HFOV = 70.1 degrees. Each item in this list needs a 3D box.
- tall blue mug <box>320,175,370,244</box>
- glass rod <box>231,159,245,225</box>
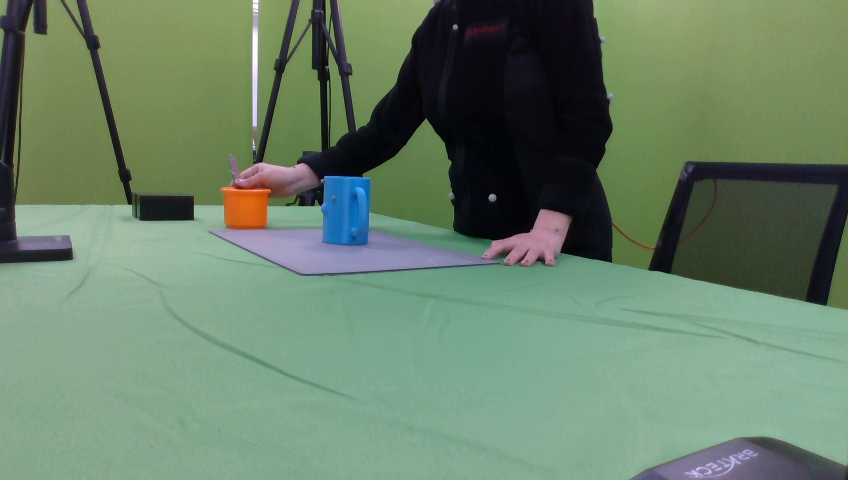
[{"bbox_3d":[-0.117,-0.049,0.991,0.106,0.108,0.078,7,8,33],"label":"tall blue mug"},{"bbox_3d":[-0.358,-0.096,1.162,0.008,0.008,0.199,-1,44,-25],"label":"glass rod"}]
